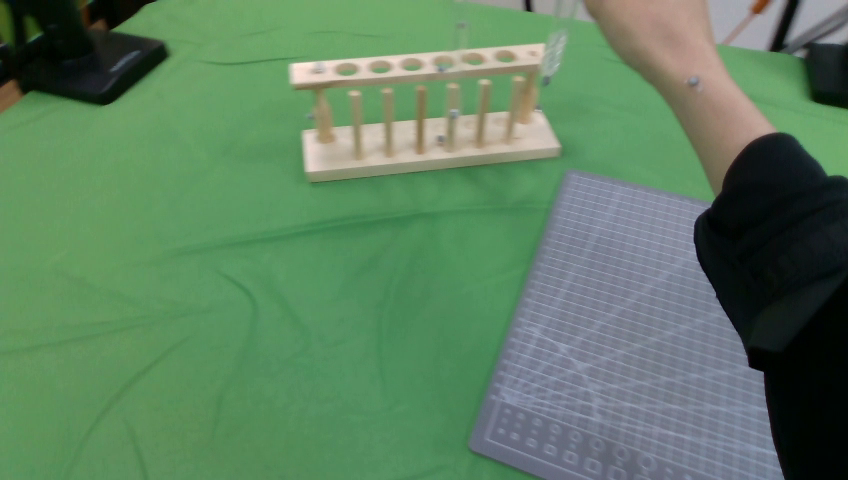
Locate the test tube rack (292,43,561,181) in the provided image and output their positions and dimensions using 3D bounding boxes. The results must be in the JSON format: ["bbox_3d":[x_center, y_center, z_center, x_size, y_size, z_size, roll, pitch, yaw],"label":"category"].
[{"bbox_3d":[0.006,-0.121,0.567,0.243,0.086,0.066,-7,47,-8],"label":"test tube rack"}]

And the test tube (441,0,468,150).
[{"bbox_3d":[0.025,-0.141,0.525,0.017,0.152,0.017,1,46,-1],"label":"test tube"}]

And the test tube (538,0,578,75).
[{"bbox_3d":[0.100,-0.176,0.408,0.017,0.151,0.017,4,51,-4],"label":"test tube"}]
